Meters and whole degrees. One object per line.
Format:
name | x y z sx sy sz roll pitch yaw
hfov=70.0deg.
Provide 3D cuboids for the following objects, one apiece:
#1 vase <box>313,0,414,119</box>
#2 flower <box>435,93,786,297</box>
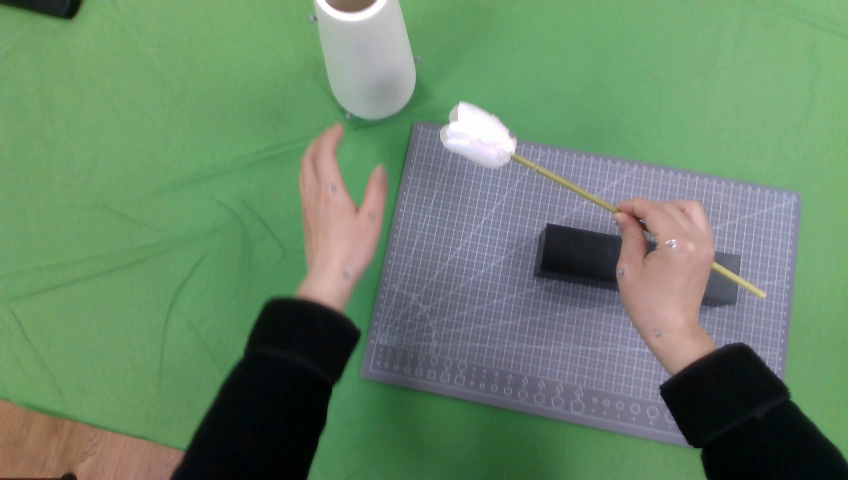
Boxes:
vase | -0.060 -0.202 0.620 0.098 0.200 0.097 0 78 0
flower | 0.174 -0.025 0.517 0.363 0.038 0.043 26 53 -14
